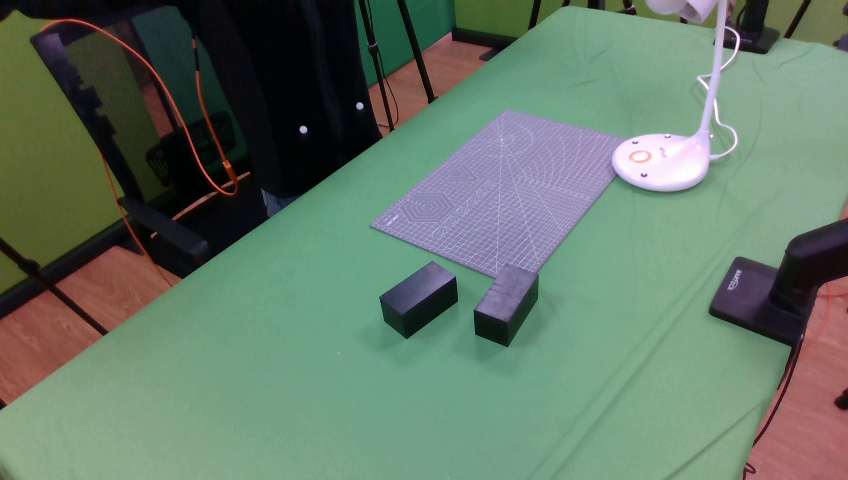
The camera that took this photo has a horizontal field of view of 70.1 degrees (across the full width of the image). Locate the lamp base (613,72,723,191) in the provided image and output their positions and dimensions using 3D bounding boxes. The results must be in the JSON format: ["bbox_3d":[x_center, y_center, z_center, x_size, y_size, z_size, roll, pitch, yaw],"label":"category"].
[{"bbox_3d":[0.423,-0.198,1.020,0.179,0.181,0.159,-6,42,-3],"label":"lamp base"}]

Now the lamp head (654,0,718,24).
[{"bbox_3d":[0.356,-0.361,0.788,0.123,0.113,0.111,-51,42,13],"label":"lamp head"}]
